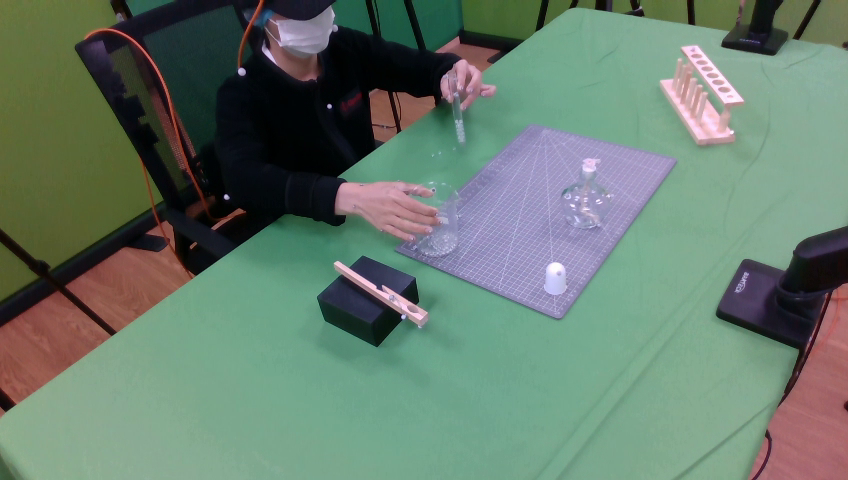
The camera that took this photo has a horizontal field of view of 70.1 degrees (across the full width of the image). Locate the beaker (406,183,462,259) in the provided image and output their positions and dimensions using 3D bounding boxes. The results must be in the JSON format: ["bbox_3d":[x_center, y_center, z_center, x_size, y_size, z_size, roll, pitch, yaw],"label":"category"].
[{"bbox_3d":[0.020,-0.028,0.941,0.084,0.100,0.074,1,38,10],"label":"beaker"}]

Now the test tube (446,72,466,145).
[{"bbox_3d":[0.058,-0.228,1.069,0.017,0.151,0.017,-7,47,8],"label":"test tube"}]

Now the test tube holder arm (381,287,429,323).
[{"bbox_3d":[-0.028,0.087,0.807,0.087,0.015,0.010,25,42,33],"label":"test tube holder arm"}]

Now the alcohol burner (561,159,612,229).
[{"bbox_3d":[0.257,-0.077,0.951,0.078,0.119,0.077,-3,40,3],"label":"alcohol burner"}]

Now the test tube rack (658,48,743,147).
[{"bbox_3d":[0.532,-0.284,1.180,0.067,0.085,0.241,-5,40,4],"label":"test tube rack"}]

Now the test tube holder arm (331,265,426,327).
[{"bbox_3d":[-0.066,0.074,0.828,0.177,0.015,0.013,24,42,33],"label":"test tube holder arm"}]

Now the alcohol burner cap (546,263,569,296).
[{"bbox_3d":[0.191,0.053,0.862,0.034,0.048,0.033,-5,40,4],"label":"alcohol burner cap"}]
